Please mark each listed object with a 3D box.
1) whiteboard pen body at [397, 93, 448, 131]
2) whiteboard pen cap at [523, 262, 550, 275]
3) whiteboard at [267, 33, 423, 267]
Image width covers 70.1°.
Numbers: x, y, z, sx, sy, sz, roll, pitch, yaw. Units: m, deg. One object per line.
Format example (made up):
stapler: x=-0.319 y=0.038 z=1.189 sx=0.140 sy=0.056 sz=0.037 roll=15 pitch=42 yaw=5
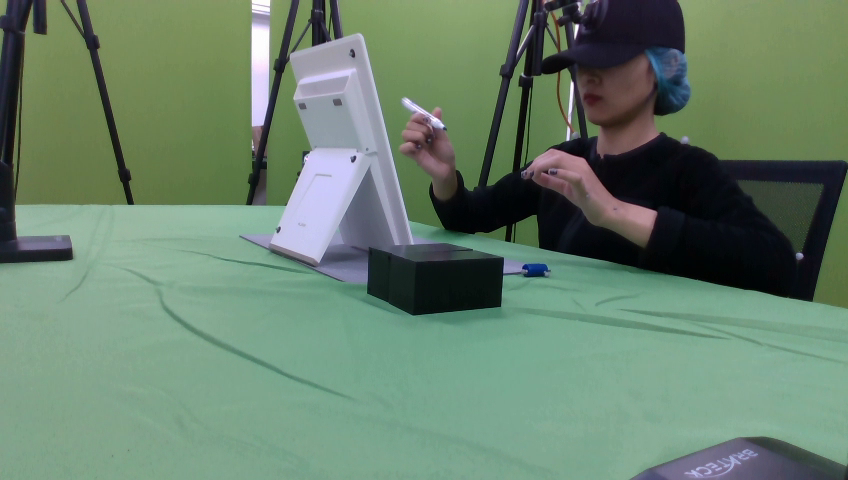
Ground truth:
whiteboard pen body: x=-0.002 y=-0.222 z=1.051 sx=0.017 sy=0.017 sz=0.140 roll=-5 pitch=37 yaw=-44
whiteboard pen cap: x=0.145 y=0.037 z=0.776 sx=0.033 sy=0.018 sz=0.018 roll=1 pitch=7 yaw=-30
whiteboard: x=-0.153 y=-0.098 z=0.819 sx=0.144 sy=0.305 sz=0.216 roll=-25 pitch=21 yaw=-29
